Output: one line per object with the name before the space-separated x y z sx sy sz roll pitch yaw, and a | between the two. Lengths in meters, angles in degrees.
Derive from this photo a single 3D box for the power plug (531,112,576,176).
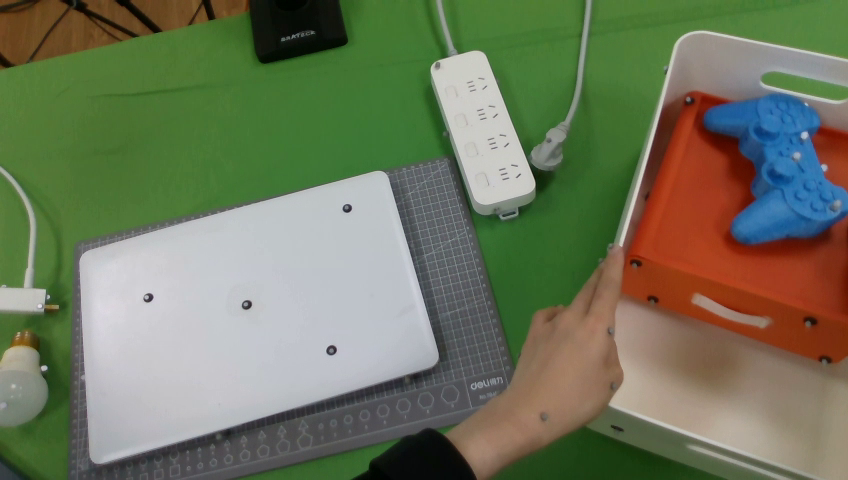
power plug | 0.151 -0.104 0.679 0.072 0.053 0.035 -31 61 -28

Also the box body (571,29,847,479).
box body | 0.298 0.023 0.540 0.253 0.161 0.362 17 69 12

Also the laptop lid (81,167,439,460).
laptop lid | -0.181 0.065 0.631 0.357 0.013 0.239 -14 68 -1

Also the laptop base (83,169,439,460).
laptop base | -0.181 0.068 0.643 0.354 0.023 0.233 -16 69 -2

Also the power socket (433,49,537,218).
power socket | 0.067 -0.130 0.702 0.072 0.033 0.224 -14 65 -2

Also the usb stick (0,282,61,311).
usb stick | -0.426 0.062 0.656 0.059 0.021 0.027 10 67 -27

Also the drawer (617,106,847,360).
drawer | 0.314 -0.017 0.582 0.193 0.074 0.210 19 61 19

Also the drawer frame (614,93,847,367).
drawer frame | 0.314 -0.020 0.578 0.201 0.083 0.212 20 61 16

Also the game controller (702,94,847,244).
game controller | 0.320 -0.071 0.551 0.097 0.052 0.154 1 60 3

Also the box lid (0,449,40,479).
box lid | -0.399 0.360 0.537 0.369 0.015 0.262 27 71 15

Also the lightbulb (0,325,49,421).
lightbulb | -0.414 0.133 0.620 0.059 0.060 0.106 -15 50 -1
